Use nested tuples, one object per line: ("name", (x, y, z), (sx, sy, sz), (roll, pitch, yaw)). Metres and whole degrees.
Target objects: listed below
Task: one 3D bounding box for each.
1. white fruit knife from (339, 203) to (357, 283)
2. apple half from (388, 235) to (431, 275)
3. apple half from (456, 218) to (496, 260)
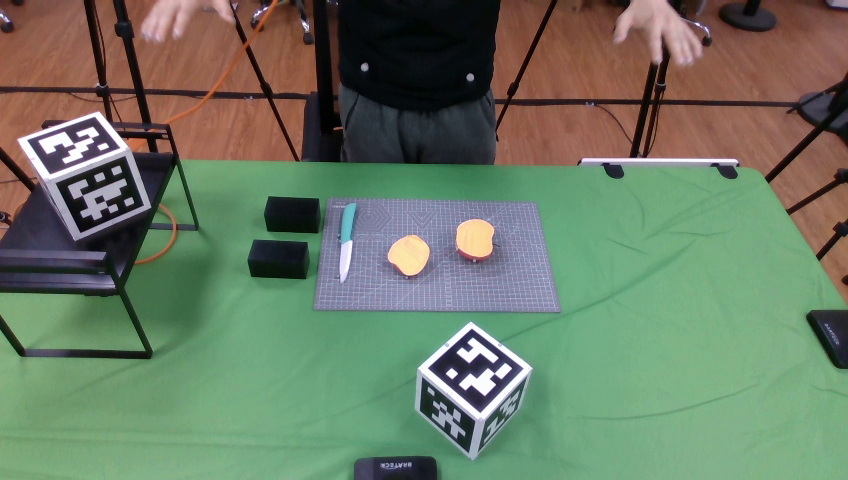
("white fruit knife", (-0.151, 0.003, 1.179), (0.027, 0.016, 0.206), (-7, 47, 7))
("apple half", (-0.023, 0.031, 1.144), (0.081, 0.033, 0.081), (-3, 66, 6))
("apple half", (0.098, 0.003, 1.168), (0.075, 0.053, 0.080), (4, 68, -4))
